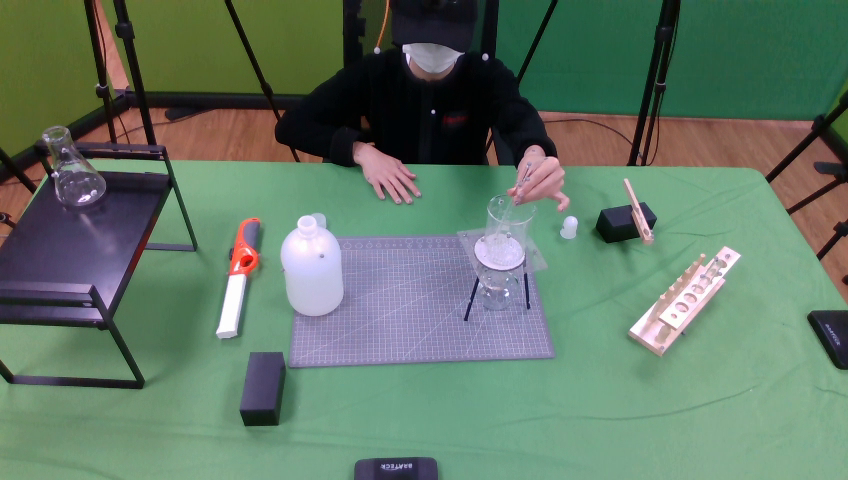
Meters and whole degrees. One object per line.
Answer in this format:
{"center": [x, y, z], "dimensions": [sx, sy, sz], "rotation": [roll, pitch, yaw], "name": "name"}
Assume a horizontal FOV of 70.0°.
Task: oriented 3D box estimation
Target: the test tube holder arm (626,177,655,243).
{"center": [0.434, -0.063, 1.220], "dimensions": [0.013, 0.015, 0.177], "rotation": [3, 47, -4], "name": "test tube holder arm"}

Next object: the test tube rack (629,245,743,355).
{"center": [0.474, 0.095, 1.091], "dimensions": [0.242, 0.085, 0.066], "rotation": [-34, 56, -31], "name": "test tube rack"}

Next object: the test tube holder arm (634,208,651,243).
{"center": [0.428, -0.030, 1.189], "dimensions": [0.010, 0.015, 0.087], "rotation": [3, 47, -3], "name": "test tube holder arm"}

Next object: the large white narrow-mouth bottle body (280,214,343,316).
{"center": [-0.190, 0.035, 1.025], "dimensions": [0.102, 0.195, 0.101], "rotation": [2, 46, -2], "name": "large white narrow-mouth bottle body"}

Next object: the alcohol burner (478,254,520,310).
{"center": [0.133, 0.068, 1.071], "dimensions": [0.078, 0.120, 0.077], "rotation": [0, 47, 0], "name": "alcohol burner"}

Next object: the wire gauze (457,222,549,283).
{"center": [0.131, 0.016, 1.017], "dimensions": [0.121, 0.011, 0.124], "rotation": [-10, 44, -15], "name": "wire gauze"}

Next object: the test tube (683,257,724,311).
{"center": [0.476, 0.080, 1.037], "dimensions": [0.017, 0.151, 0.017], "rotation": [1, 51, -2], "name": "test tube"}

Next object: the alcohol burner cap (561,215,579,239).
{"center": [0.299, -0.030, 1.231], "dimensions": [0.034, 0.048, 0.033], "rotation": [1, 46, -1], "name": "alcohol burner cap"}

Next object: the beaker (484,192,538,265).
{"center": [0.137, -0.016, 0.980], "dimensions": [0.084, 0.101, 0.073], "rotation": [-6, 45, -9], "name": "beaker"}

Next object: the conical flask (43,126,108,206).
{"center": [-0.555, -0.119, 0.953], "dimensions": [0.075, 0.122, 0.075], "rotation": [2, 46, -2], "name": "conical flask"}

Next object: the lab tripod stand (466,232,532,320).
{"center": [0.125, 0.059, 1.065], "dimensions": [0.148, 0.132, 0.147], "rotation": [1, 45, 0], "name": "lab tripod stand"}

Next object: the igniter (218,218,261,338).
{"center": [-0.337, 0.060, 1.111], "dimensions": [0.057, 0.025, 0.274], "rotation": [-7, 46, 4], "name": "igniter"}

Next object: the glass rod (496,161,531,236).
{"center": [0.137, -0.059, 0.936], "dimensions": [0.008, 0.200, 0.008], "rotation": [4, 59, -6], "name": "glass rod"}

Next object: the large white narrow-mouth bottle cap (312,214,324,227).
{"center": [-0.219, -0.033, 1.214], "dimensions": [0.038, 0.024, 0.037], "rotation": [2, 46, -2], "name": "large white narrow-mouth bottle cap"}
